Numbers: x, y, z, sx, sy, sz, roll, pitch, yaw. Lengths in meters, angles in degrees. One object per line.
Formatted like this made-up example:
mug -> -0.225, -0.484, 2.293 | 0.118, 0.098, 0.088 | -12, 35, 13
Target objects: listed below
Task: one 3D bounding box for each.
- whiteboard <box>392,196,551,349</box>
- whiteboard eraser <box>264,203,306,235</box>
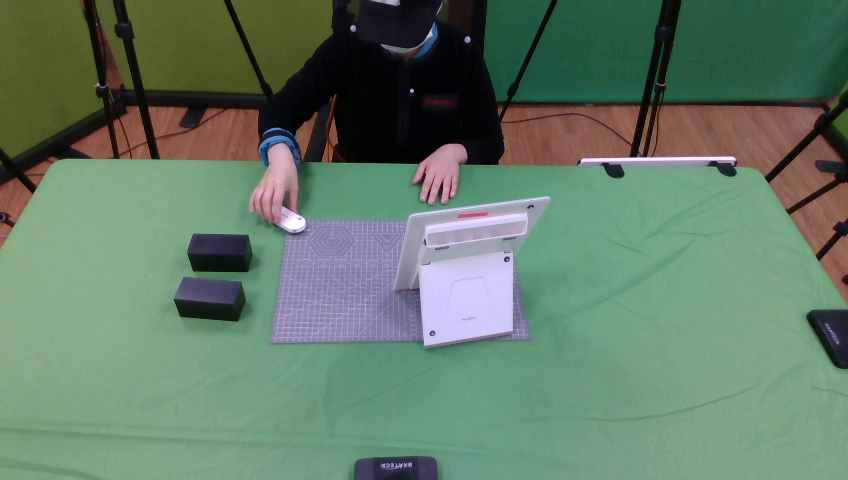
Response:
whiteboard -> 0.077, 0.071, 0.977 | 0.217, 0.306, 0.143 | -7, 67, -11
whiteboard eraser -> -0.280, -0.044, 1.216 | 0.101, 0.019, 0.041 | 30, 52, 25
